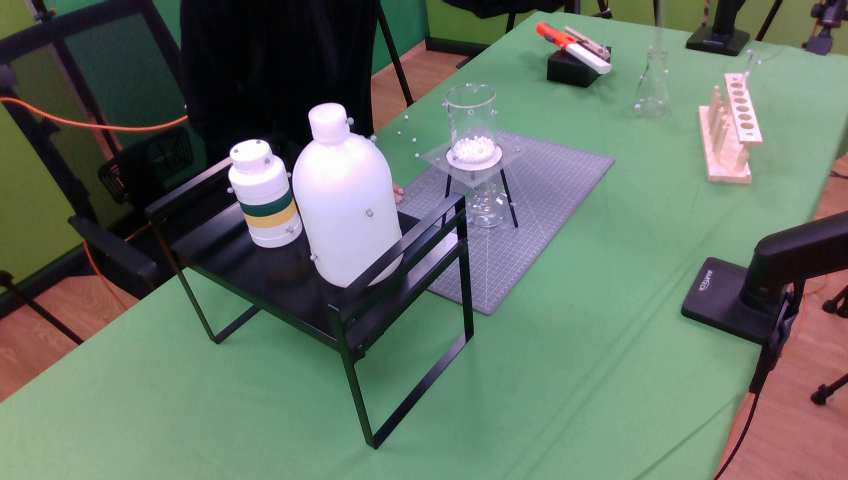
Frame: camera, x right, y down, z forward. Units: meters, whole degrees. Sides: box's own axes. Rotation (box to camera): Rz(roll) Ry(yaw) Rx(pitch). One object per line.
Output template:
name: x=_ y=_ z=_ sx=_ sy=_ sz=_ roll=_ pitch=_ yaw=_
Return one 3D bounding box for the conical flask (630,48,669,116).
conical flask: x=0.456 y=-0.317 z=1.205 sx=0.075 sy=0.122 sz=0.075 roll=-4 pitch=41 yaw=4

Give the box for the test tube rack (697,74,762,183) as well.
test tube rack: x=0.547 y=-0.208 z=1.095 sx=0.066 sy=0.085 sz=0.242 roll=5 pitch=42 yaw=15

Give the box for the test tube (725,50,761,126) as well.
test tube: x=0.570 y=-0.269 z=1.085 sx=0.017 sy=0.151 sz=0.017 roll=-1 pitch=45 yaw=1

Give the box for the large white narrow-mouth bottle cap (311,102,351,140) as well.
large white narrow-mouth bottle cap: x=-0.089 y=-0.114 z=0.579 sx=0.038 sy=0.024 sz=0.037 roll=-4 pitch=39 yaw=3

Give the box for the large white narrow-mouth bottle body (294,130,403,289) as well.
large white narrow-mouth bottle body: x=-0.082 y=-0.047 z=0.634 sx=0.102 sy=0.195 sz=0.101 roll=-4 pitch=39 yaw=4

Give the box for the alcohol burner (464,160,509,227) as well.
alcohol burner: x=0.102 y=-0.081 z=0.982 sx=0.078 sy=0.119 sz=0.077 roll=-4 pitch=43 yaw=4

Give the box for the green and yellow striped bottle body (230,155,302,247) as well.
green and yellow striped bottle body: x=-0.188 y=-0.055 z=0.714 sx=0.063 sy=0.120 sz=0.063 roll=-4 pitch=41 yaw=4

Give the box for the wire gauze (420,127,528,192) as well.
wire gauze: x=0.076 y=-0.131 z=0.927 sx=0.122 sy=0.011 sz=0.124 roll=-34 pitch=49 yaw=-25

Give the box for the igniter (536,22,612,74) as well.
igniter: x=0.330 y=-0.438 z=1.366 sx=0.057 sy=0.025 sz=0.274 roll=-11 pitch=40 yaw=-20

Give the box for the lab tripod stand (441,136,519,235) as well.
lab tripod stand: x=0.083 y=-0.086 z=0.976 sx=0.148 sy=0.132 sz=0.147 roll=-4 pitch=43 yaw=4

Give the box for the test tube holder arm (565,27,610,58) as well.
test tube holder arm: x=0.369 y=-0.450 z=1.373 sx=0.013 sy=0.015 sz=0.177 roll=-39 pitch=41 yaw=9

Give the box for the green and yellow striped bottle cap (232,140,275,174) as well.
green and yellow striped bottle cap: x=-0.192 y=-0.094 z=0.680 sx=0.045 sy=0.020 sz=0.045 roll=-5 pitch=39 yaw=5

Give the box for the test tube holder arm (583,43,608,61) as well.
test tube holder arm: x=0.379 y=-0.421 z=1.341 sx=0.010 sy=0.015 sz=0.087 roll=-39 pitch=41 yaw=10

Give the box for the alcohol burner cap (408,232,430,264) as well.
alcohol burner cap: x=-0.010 y=0.010 z=0.947 sx=0.034 sy=0.048 sz=0.033 roll=-4 pitch=41 yaw=4

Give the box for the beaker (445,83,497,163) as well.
beaker: x=0.073 y=-0.175 z=0.904 sx=0.074 sy=0.101 sz=0.084 roll=3 pitch=41 yaw=13

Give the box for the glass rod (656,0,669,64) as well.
glass rod: x=0.353 y=-0.358 z=0.875 sx=0.008 sy=0.200 sz=0.008 roll=-1 pitch=25 yaw=1
